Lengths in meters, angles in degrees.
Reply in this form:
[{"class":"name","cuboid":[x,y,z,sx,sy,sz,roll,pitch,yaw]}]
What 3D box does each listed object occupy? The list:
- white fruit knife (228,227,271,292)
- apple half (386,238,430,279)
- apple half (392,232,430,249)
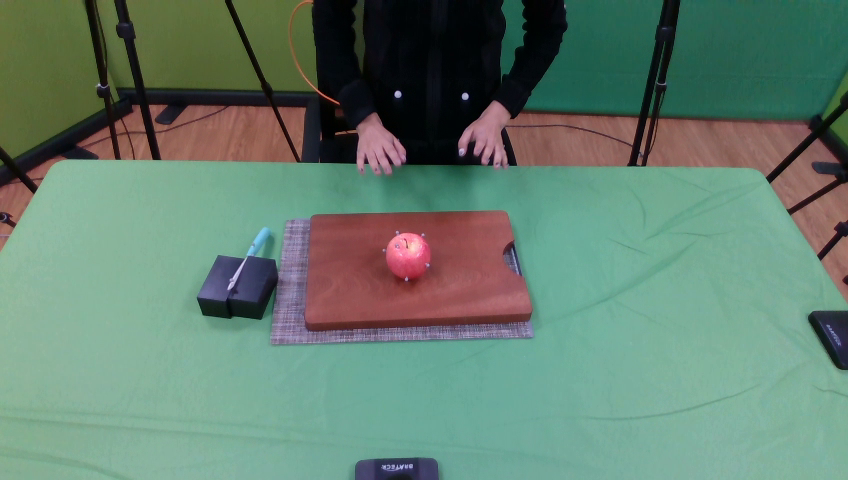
[{"class":"white fruit knife","cuboid":[-0.318,0.031,1.107,0.016,0.027,0.206,5,32,3]},{"class":"apple half","cuboid":[-0.032,0.039,1.084,0.081,0.075,0.053,11,50,1]},{"class":"apple half","cuboid":[-0.025,0.010,1.110,0.081,0.081,0.032,8,50,4]}]
